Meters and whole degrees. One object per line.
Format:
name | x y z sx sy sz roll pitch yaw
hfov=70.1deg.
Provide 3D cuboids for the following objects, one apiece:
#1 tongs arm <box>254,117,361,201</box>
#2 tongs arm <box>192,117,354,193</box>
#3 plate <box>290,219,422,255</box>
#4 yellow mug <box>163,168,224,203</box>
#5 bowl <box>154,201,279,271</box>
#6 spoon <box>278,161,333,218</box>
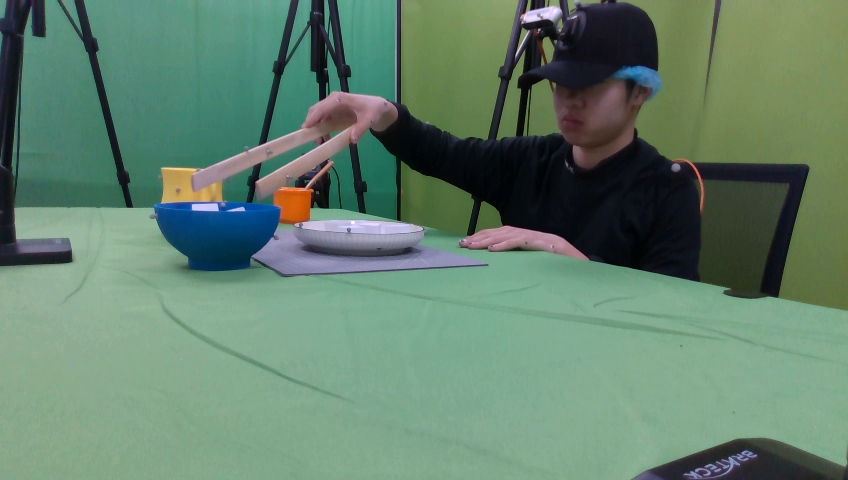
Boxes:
tongs arm | -0.163 -0.134 0.924 0.028 0.028 0.388 2 23 15
tongs arm | -0.213 -0.142 0.939 0.050 0.026 0.385 7 24 18
plate | -0.108 -0.005 0.963 0.208 0.039 0.207 3 7 0
yellow mug | -0.383 -0.087 1.026 0.130 0.064 0.100 11 11 44
bowl | -0.261 -0.005 0.770 0.151 0.077 0.151 3 8 0
spoon | -0.262 -0.115 1.359 0.041 0.194 0.022 12 -33 38
